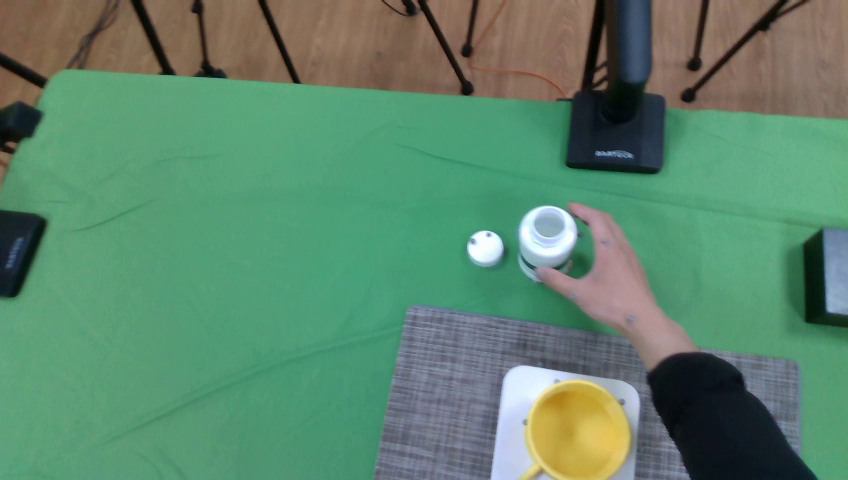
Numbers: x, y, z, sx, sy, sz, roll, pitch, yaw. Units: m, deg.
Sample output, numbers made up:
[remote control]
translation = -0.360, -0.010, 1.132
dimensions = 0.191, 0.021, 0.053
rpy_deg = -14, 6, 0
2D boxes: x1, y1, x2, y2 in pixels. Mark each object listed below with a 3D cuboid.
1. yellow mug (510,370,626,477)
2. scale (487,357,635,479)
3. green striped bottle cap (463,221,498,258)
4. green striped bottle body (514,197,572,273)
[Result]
[yellow mug]
translation = 0.139, 0.197, 0.620
dimensions = 0.131, 0.064, 0.099
rpy_deg = -40, 72, -7
[scale]
translation = 0.147, 0.233, 0.657
dimensions = 0.148, 0.032, 0.200
rpy_deg = 7, 72, 10
[green striped bottle cap]
translation = 0.072, -0.001, 0.762
dimensions = 0.044, 0.020, 0.044
rpy_deg = -2, 76, 7
[green striped bottle body]
translation = 0.136, -0.008, 0.700
dimensions = 0.063, 0.120, 0.063
rpy_deg = -2, 70, 7
